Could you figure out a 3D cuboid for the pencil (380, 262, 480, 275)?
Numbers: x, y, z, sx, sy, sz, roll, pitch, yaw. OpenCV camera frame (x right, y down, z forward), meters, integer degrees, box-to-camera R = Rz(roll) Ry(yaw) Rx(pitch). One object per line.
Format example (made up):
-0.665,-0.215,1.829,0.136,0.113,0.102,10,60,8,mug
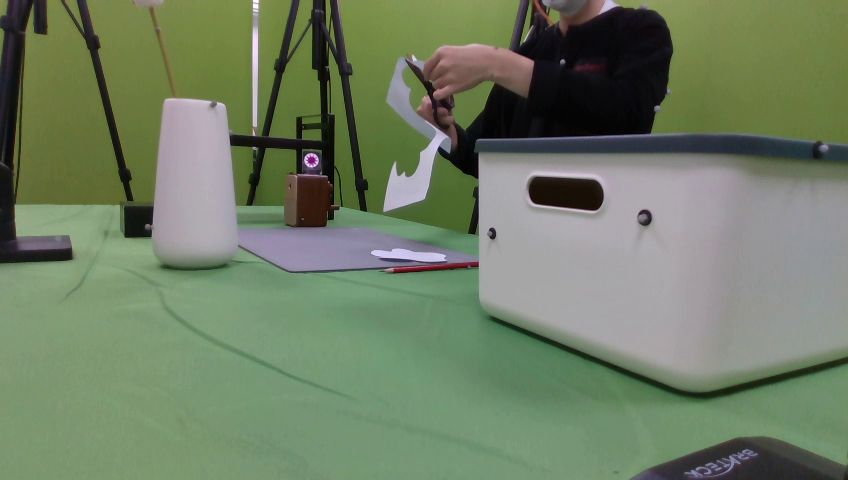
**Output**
0.030,0.036,0.794,0.195,0.012,0.012,-3,9,-30,pencil

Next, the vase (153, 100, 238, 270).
-0.278,-0.066,0.736,0.098,0.200,0.098,2,9,0,vase

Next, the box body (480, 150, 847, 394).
0.254,0.001,0.539,0.366,0.160,0.253,-2,9,-31,box body

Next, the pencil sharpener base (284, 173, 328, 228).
-0.239,-0.081,1.231,0.077,0.107,0.061,-2,8,-36,pencil sharpener base

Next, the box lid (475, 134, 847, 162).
0.256,-0.073,0.528,0.373,0.015,0.262,-2,8,-31,box lid

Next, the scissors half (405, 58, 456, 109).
0.012,-0.280,1.075,0.013,0.040,0.176,-3,-13,30,scissors half

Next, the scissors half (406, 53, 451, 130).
0.007,-0.260,1.067,0.012,0.040,0.176,2,-36,32,scissors half

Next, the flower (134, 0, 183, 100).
-0.282,-0.147,0.713,0.038,0.362,0.044,-23,24,-31,flower

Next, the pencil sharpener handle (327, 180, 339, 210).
-0.194,-0.095,1.256,0.031,0.067,0.036,-2,-7,-36,pencil sharpener handle
